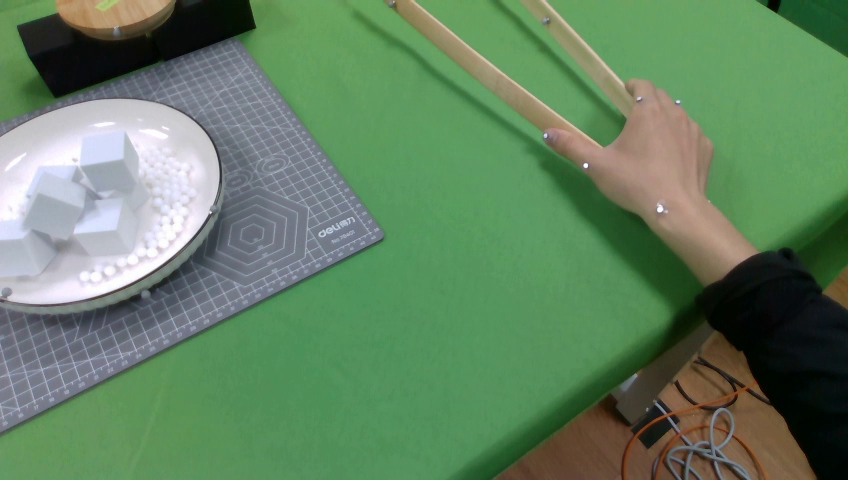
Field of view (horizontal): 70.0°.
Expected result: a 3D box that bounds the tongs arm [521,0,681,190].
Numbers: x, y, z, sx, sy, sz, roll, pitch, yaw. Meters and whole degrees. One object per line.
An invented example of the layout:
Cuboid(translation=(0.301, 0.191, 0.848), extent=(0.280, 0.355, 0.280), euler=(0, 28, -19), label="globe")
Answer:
Cuboid(translation=(0.125, -0.199, 0.597), extent=(0.051, 0.027, 0.381), euler=(-23, 62, -21), label="tongs arm")

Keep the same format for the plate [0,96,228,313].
Cuboid(translation=(-0.260, -0.031, 0.482), extent=(0.209, 0.038, 0.207), euler=(1, 56, 0), label="plate")

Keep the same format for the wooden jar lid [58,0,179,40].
Cuboid(translation=(-0.281, -0.225, 0.567), extent=(0.108, 0.021, 0.107), euler=(1, 56, -2), label="wooden jar lid")

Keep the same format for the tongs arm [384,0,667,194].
Cuboid(translation=(0.060, -0.166, 0.569), extent=(0.028, 0.028, 0.384), euler=(-33, 65, -29), label="tongs arm")
